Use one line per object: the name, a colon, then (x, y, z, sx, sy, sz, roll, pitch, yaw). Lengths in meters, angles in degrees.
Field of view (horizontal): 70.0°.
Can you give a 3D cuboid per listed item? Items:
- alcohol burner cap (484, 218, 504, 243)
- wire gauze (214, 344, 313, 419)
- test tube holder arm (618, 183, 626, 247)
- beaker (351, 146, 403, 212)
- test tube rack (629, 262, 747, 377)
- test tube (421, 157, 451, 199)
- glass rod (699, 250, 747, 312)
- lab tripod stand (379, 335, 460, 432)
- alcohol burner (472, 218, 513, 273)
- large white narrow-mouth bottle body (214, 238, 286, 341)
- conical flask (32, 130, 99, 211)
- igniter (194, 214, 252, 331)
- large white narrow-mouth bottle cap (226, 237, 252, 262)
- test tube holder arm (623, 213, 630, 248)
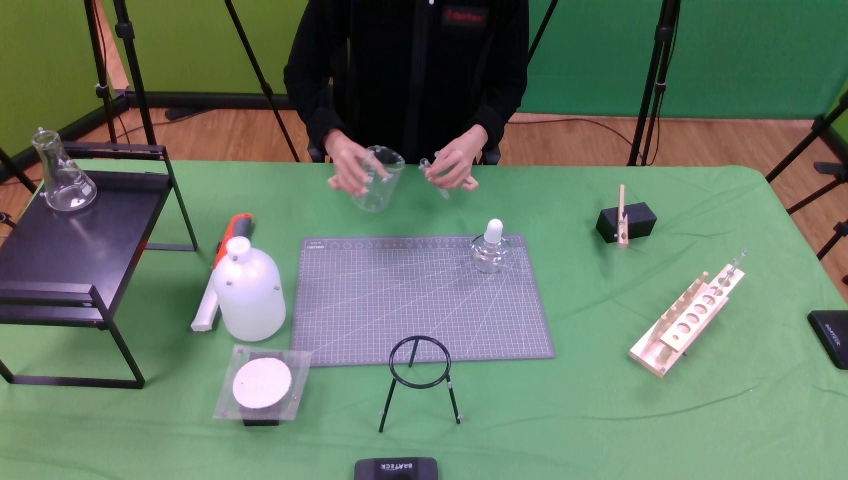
alcohol burner cap: (0.130, -0.021, 1.106, 0.034, 0.048, 0.033, 3, 52, -4)
wire gauze: (-0.241, 0.213, 0.916, 0.121, 0.011, 0.124, 5, 46, 1)
test tube holder arm: (0.395, -0.053, 1.210, 0.013, 0.015, 0.177, 15, 47, -1)
beaker: (-0.086, -0.108, 1.094, 0.084, 0.100, 0.073, -9, 47, -36)
test tube rack: (0.464, 0.126, 1.060, 0.242, 0.085, 0.066, -34, 56, -30)
test tube: (0.025, -0.117, 1.172, 0.017, 0.151, 0.017, -8, 65, 17)
glass rod: (0.500, 0.075, 1.021, 0.008, 0.201, 0.008, 0, 55, 1)
lab tripod stand: (-0.011, 0.214, 0.911, 0.148, 0.132, 0.147, 1, 45, 0)
alcohol burner: (0.128, 0.005, 1.132, 0.078, 0.120, 0.077, 0, 47, 0)
large white narrow-mouth bottle body: (-0.285, 0.073, 0.986, 0.102, 0.195, 0.101, 2, 46, -2)
conical flask: (-0.565, -0.110, 0.944, 0.075, 0.122, 0.075, 2, 46, -2)
igniter: (-0.367, 0.050, 1.119, 0.057, 0.025, 0.275, -4, 46, 7)
large white narrow-mouth bottle cap: (-0.282, 0.014, 0.923, 0.038, 0.024, 0.037, 2, 46, -2)
test tube holder arm: (0.392, -0.020, 1.180, 0.010, 0.015, 0.087, 15, 47, -1)
